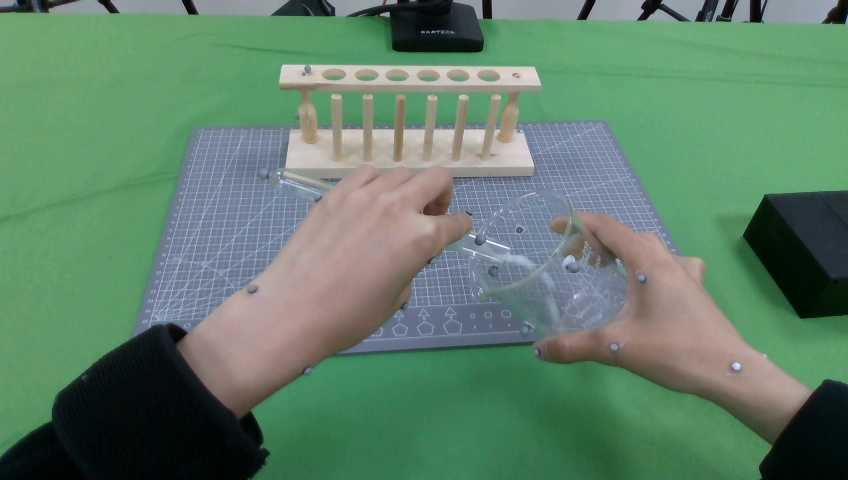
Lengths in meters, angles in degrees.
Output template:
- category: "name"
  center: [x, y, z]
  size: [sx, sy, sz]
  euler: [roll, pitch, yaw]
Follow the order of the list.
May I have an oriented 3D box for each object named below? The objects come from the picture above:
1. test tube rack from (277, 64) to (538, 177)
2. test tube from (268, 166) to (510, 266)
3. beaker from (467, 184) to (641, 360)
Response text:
- category: "test tube rack"
  center: [-0.014, -0.115, 0.588]
  size: [0.243, 0.086, 0.066]
  euler: [-1, 45, -6]
- category: "test tube"
  center: [-0.020, -0.015, 0.362]
  size: [0.150, 0.017, 0.017]
  euler: [19, 45, -3]
- category: "beaker"
  center: [0.085, 0.027, 0.387]
  size: [0.084, 0.101, 0.073]
  euler: [-50, 31, -2]
